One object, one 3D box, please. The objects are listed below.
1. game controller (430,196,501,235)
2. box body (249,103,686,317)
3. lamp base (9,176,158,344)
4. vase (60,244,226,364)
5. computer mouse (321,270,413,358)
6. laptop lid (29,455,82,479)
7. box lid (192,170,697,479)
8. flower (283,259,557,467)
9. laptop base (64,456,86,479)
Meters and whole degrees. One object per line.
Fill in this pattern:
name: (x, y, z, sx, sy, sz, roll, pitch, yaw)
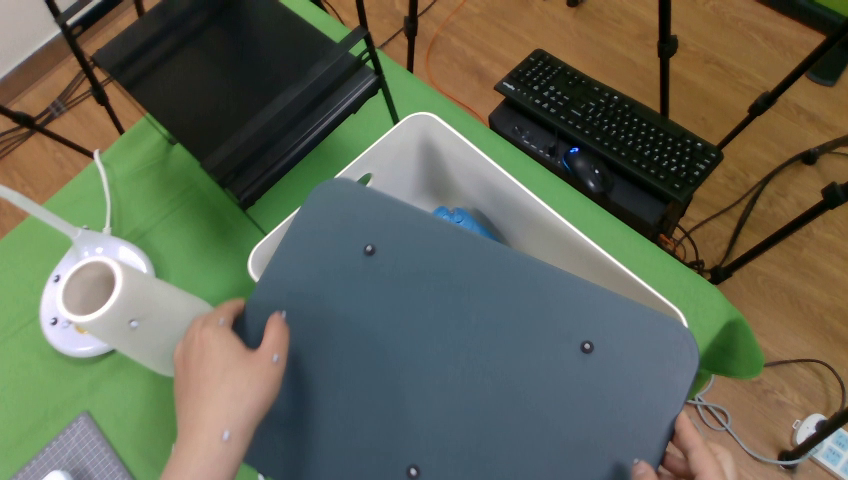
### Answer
game controller: (0.011, 0.015, 0.723, 0.155, 0.052, 0.096, -42, 65, -10)
box body: (0.038, 0.069, 0.637, 0.254, 0.162, 0.361, -43, 67, -9)
lamp base: (-0.439, 0.016, 0.730, 0.160, 0.182, 0.177, -14, 62, 3)
vase: (-0.304, 0.073, 0.672, 0.098, 0.202, 0.097, -4, 66, 10)
computer mouse: (-0.070, 0.083, 0.710, 0.116, 0.041, 0.063, 36, 80, 30)
laptop lid: (-0.461, 0.436, 0.628, 0.356, 0.013, 0.240, -43, 69, -10)
box lid: (0.009, 0.111, 0.507, 0.370, 0.015, 0.262, 23, 79, 12)
flower: (-0.008, 0.134, 0.665, 0.360, 0.044, 0.038, 35, 116, 10)
laptop base: (-0.461, 0.439, 0.639, 0.234, 0.023, 0.354, 42, 79, 19)
